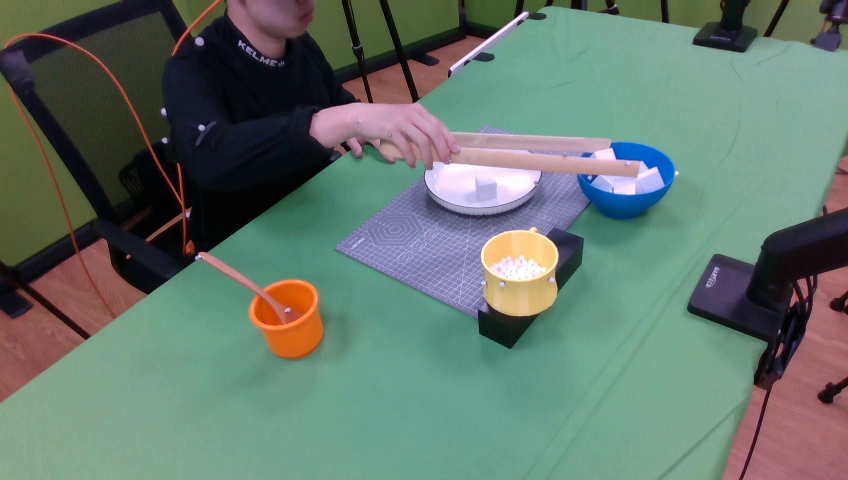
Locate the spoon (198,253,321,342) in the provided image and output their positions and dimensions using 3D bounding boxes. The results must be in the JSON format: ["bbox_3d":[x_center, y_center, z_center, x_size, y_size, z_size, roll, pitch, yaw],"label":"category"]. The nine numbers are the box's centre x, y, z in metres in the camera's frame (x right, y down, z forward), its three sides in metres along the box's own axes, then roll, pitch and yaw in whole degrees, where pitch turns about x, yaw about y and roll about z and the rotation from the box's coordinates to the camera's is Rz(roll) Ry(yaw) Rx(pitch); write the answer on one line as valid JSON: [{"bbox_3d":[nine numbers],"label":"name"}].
[{"bbox_3d":[-0.220,0.075,0.814,0.021,0.194,0.041,-37,18,39],"label":"spoon"}]

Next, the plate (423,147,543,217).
[{"bbox_3d":[0.103,-0.103,1.059,0.207,0.039,0.206,-4,40,4],"label":"plate"}]

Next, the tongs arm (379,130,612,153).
[{"bbox_3d":[0.119,-0.151,0.944,0.389,0.028,0.028,-1,32,-14],"label":"tongs arm"}]

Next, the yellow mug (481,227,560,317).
[{"bbox_3d":[0.131,0.032,0.801,0.099,0.064,0.131,11,43,20],"label":"yellow mug"}]

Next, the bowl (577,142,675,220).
[{"bbox_3d":[0.322,-0.086,0.980,0.151,0.077,0.150,-4,41,4],"label":"bowl"}]

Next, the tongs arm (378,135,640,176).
[{"bbox_3d":[0.126,-0.124,0.890,0.386,0.026,0.050,2,28,-8],"label":"tongs arm"}]
